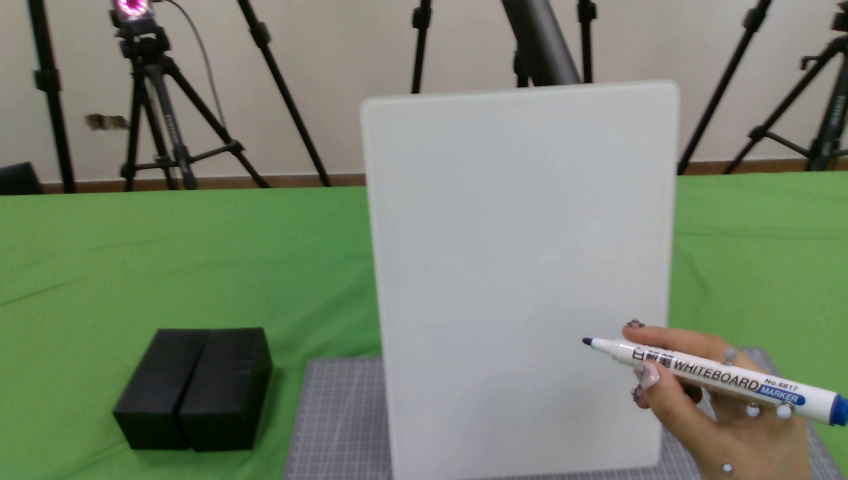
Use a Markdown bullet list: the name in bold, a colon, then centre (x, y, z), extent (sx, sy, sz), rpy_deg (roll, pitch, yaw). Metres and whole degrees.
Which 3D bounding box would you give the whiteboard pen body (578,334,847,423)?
- **whiteboard pen body**: centre (0.145, 0.069, 0.326), extent (0.139, 0.017, 0.017), rpy_deg (10, 34, 44)

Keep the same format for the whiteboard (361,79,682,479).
- **whiteboard**: centre (0.073, 0.027, 0.509), extent (0.217, 0.307, 0.143), rpy_deg (-3, 16, 0)
